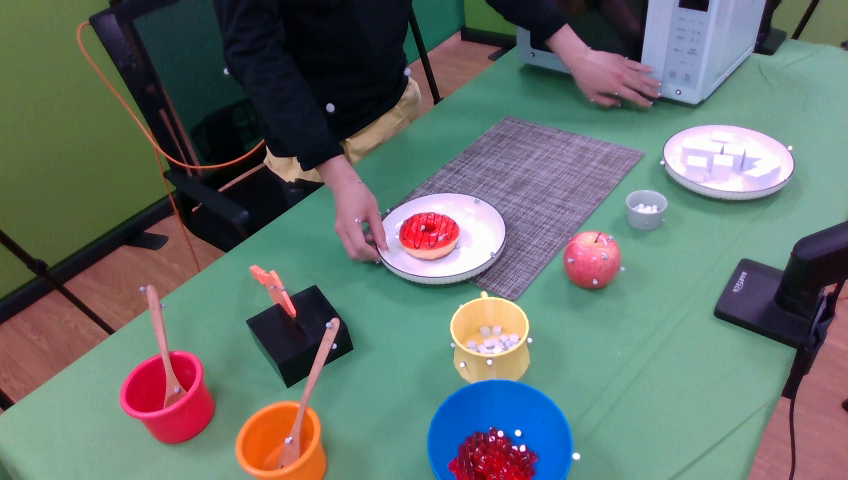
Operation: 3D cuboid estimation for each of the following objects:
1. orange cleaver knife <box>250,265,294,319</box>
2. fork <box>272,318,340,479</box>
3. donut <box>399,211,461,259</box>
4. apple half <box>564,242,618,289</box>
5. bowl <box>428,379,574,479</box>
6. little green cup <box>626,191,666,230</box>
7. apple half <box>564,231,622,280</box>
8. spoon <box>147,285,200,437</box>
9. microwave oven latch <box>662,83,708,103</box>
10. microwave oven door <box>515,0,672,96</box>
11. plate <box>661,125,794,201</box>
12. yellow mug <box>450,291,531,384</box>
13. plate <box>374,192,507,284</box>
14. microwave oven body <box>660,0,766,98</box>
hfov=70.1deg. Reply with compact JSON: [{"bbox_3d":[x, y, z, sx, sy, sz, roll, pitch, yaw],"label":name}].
[{"bbox_3d":[-0.221,0.073,0.876,0.012,0.077,0.210,-24,12,-22],"label":"orange cleaver knife"},{"bbox_3d":[-0.131,0.186,0.676,0.028,0.019,0.207,18,90,28],"label":"fork"},{"bbox_3d":[0.009,-0.008,0.948,0.099,0.048,0.098,-4,39,4],"label":"donut"},{"bbox_3d":[0.229,0.044,0.848,0.081,0.081,0.033,16,41,26],"label":"apple half"},{"bbox_3d":[0.082,0.233,0.644,0.151,0.077,0.150,-4,40,4],"label":"bowl"},{"bbox_3d":[0.352,-0.046,0.963,0.061,0.039,0.061,-4,40,4],"label":"little green cup"},{"bbox_3d":[0.248,0.021,0.874,0.080,0.075,0.053,13,40,28],"label":"apple half"},{"bbox_3d":[-0.318,0.148,0.754,0.042,0.021,0.193,-15,85,-11],"label":"spoon"},{"bbox_3d":[0.518,-0.296,1.204,0.078,0.029,0.030,28,52,35],"label":"microwave oven latch"},{"bbox_3d":[0.343,-0.455,1.259,0.353,0.245,0.039,26,51,33],"label":"microwave oven door"},{"bbox_3d":[0.513,-0.128,1.035,0.207,0.039,0.206,-4,40,4],"label":"plate"},{"bbox_3d":[0.085,0.120,0.786,0.100,0.064,0.130,-7,39,1],"label":"yellow mug"},{"bbox_3d":[0.027,0.000,0.952,0.209,0.038,0.208,-4,40,4],"label":"plate"},{"bbox_3d":[0.472,-0.513,1.317,0.438,0.261,0.327,26,51,34],"label":"microwave oven body"}]
